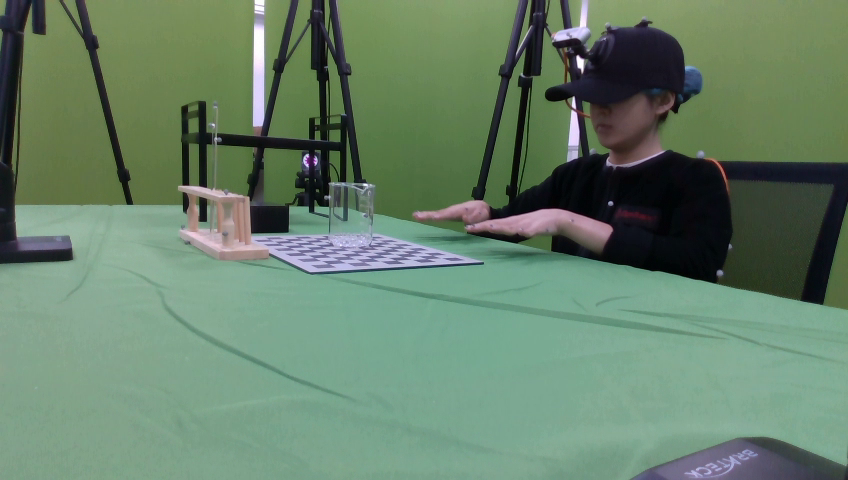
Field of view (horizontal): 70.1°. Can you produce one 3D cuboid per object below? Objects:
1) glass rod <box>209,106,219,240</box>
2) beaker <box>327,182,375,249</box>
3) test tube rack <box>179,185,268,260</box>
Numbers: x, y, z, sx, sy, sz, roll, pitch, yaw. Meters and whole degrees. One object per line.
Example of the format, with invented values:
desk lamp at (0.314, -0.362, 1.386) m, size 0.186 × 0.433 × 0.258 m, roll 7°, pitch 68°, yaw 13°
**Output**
glass rod at (-0.305, -0.096, 0.878) m, size 0.008 × 0.199 × 0.008 m, roll 2°, pitch 0°, yaw 0°
beaker at (-0.114, -0.039, 0.950) m, size 0.074 × 0.100 × 0.083 m, roll -2°, pitch 9°, yaw -31°
test tube rack at (-0.303, -0.031, 0.898) m, size 0.067 × 0.085 × 0.241 m, roll -2°, pitch 9°, yaw -33°
